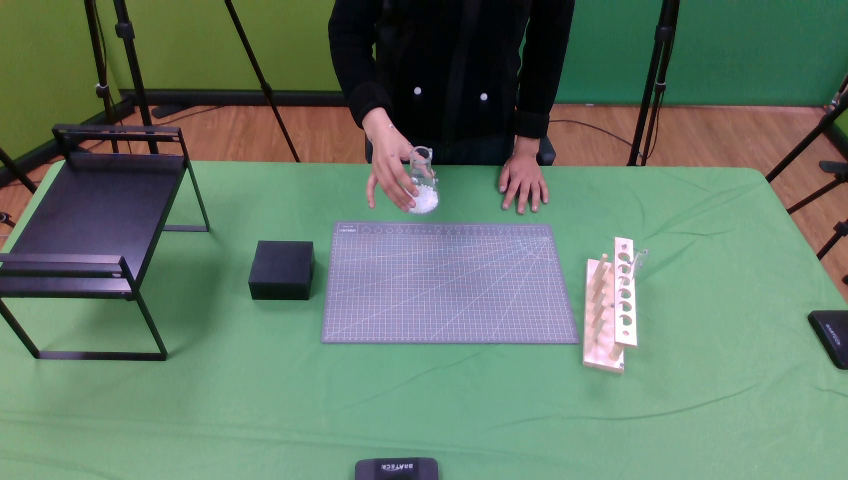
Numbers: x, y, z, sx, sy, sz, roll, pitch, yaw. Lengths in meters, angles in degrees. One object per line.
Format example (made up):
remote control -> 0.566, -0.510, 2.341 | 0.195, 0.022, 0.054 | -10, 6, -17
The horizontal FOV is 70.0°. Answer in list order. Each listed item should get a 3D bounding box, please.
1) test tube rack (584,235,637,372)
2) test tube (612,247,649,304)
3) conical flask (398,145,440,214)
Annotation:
test tube rack -> 0.329, 0.103, 1.073 | 0.067, 0.085, 0.241 | 11, 47, 7
test tube -> 0.353, 0.065, 1.044 | 0.017, 0.151, 0.017 | 3, 49, -4
conical flask -> -0.008, -0.108, 1.038 | 0.075, 0.122, 0.075 | 1, 54, -1
